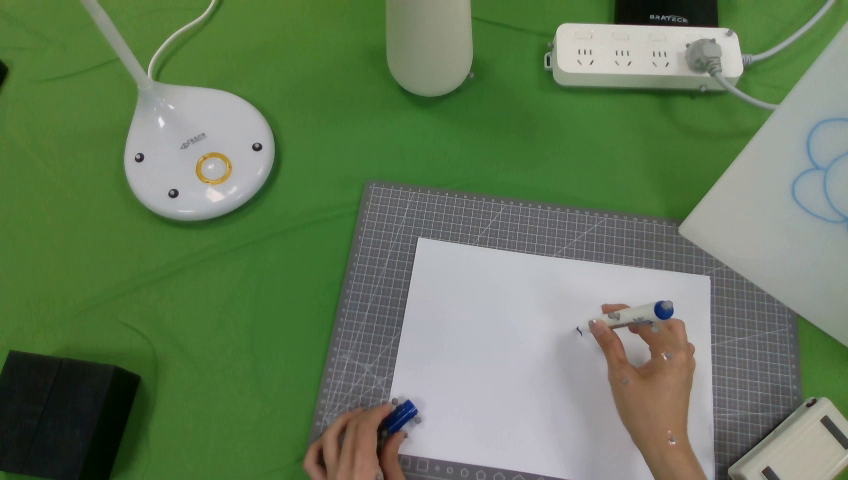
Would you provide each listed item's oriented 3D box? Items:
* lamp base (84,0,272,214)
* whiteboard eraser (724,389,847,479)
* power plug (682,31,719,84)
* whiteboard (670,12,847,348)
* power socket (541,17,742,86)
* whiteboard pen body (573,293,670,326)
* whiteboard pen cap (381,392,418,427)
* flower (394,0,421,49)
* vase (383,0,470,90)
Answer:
[{"bbox_3d":[-0.257,-0.138,0.593,0.178,0.181,0.160,40,74,18],"label":"lamp base"},{"bbox_3d":[0.322,0.184,0.532,0.112,0.042,0.055,-34,71,-12],"label":"whiteboard eraser"},{"bbox_3d":[0.300,-0.195,0.664,0.035,0.053,0.072,12,75,6],"label":"power plug"},{"bbox_3d":[0.412,-0.078,0.528,0.216,0.307,0.143,38,53,15],"label":"whiteboard"},{"bbox_3d":[0.251,-0.217,0.697,0.227,0.033,0.071,3,69,1],"label":"power socket"},{"bbox_3d":[0.166,0.063,0.530,0.017,0.141,0.017,4,76,-15],"label":"whiteboard pen body"},{"bbox_3d":[-0.022,0.157,0.560,0.033,0.018,0.018,-37,72,-20],"label":"whiteboard pen cap"},{"bbox_3d":[0.017,-0.265,0.542,0.044,0.362,0.038,-34,89,-21],"label":"flower"},{"bbox_3d":[0.000,-0.245,0.622,0.098,0.201,0.097,-1,68,2],"label":"vase"}]
